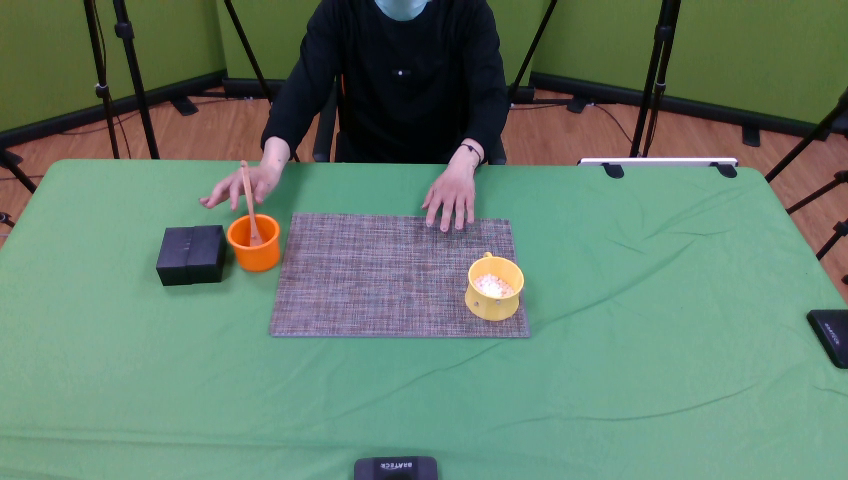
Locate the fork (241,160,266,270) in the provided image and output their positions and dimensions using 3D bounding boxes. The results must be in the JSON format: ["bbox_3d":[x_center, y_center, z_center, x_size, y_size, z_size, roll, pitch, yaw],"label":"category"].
[{"bbox_3d":[-0.320,-0.047,1.130,0.028,0.018,0.207,-9,91,-4],"label":"fork"}]

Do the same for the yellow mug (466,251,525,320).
[{"bbox_3d":[0.125,0.074,1.096,0.100,0.064,0.130,-4,45,-7],"label":"yellow mug"}]
